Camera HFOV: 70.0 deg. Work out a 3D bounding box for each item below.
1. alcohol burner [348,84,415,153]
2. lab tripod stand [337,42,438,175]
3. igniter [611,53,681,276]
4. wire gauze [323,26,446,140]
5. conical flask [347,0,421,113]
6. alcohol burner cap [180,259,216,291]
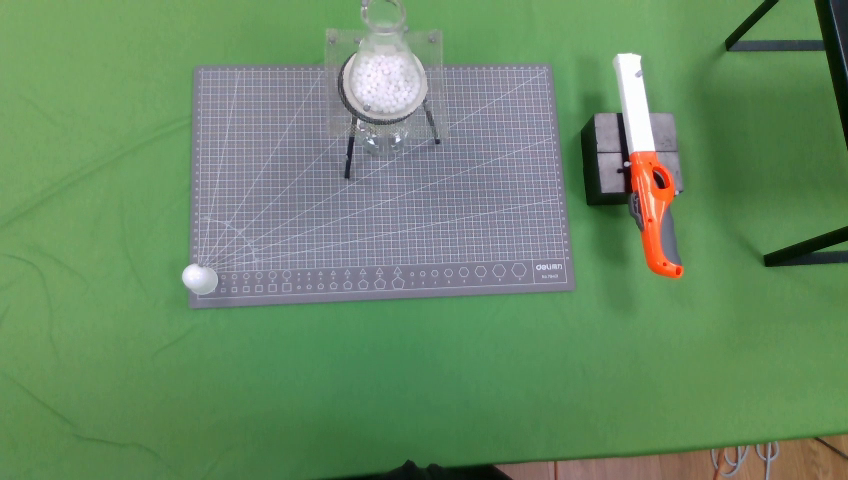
[{"bbox_3d":[-0.049,-0.146,0.694,0.078,0.119,0.077,1,78,-3],"label":"alcohol burner"},{"bbox_3d":[-0.052,-0.152,0.685,0.148,0.132,0.147,1,77,-3],"label":"lab tripod stand"},{"bbox_3d":[0.257,-0.092,0.711,0.057,0.025,0.275,-3,76,-10],"label":"igniter"},{"bbox_3d":[-0.040,-0.163,0.621,0.125,0.011,0.121,1,79,-7],"label":"wire gauze"},{"bbox_3d":[-0.037,-0.177,0.563,0.075,0.122,0.075,1,75,-4],"label":"conical flask"},{"bbox_3d":[-0.253,0.037,0.670,0.034,0.048,0.033,2,76,-7],"label":"alcohol burner cap"}]
